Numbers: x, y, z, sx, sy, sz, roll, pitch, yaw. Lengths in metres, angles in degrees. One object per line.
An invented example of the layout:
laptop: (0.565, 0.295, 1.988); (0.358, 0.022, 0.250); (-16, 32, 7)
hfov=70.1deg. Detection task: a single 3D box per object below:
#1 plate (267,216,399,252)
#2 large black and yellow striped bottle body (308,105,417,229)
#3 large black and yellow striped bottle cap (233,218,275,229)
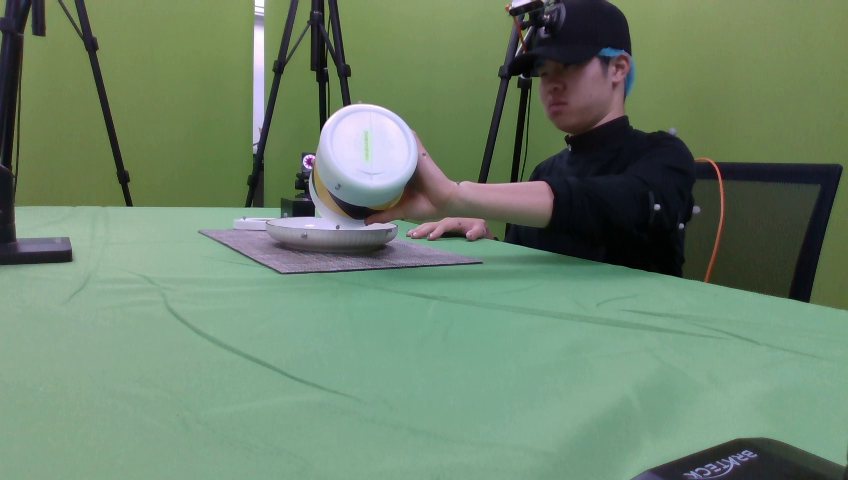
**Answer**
plate: (-0.145, -0.010, 0.967); (0.208, 0.039, 0.207); (2, 7, 0)
large black and yellow striped bottle body: (-0.095, -0.094, 0.862); (0.131, 0.130, 0.183); (0, -18, -17)
large black and yellow striped bottle cap: (-0.311, -0.032, 1.172); (0.115, 0.019, 0.115); (1, 4, 0)
